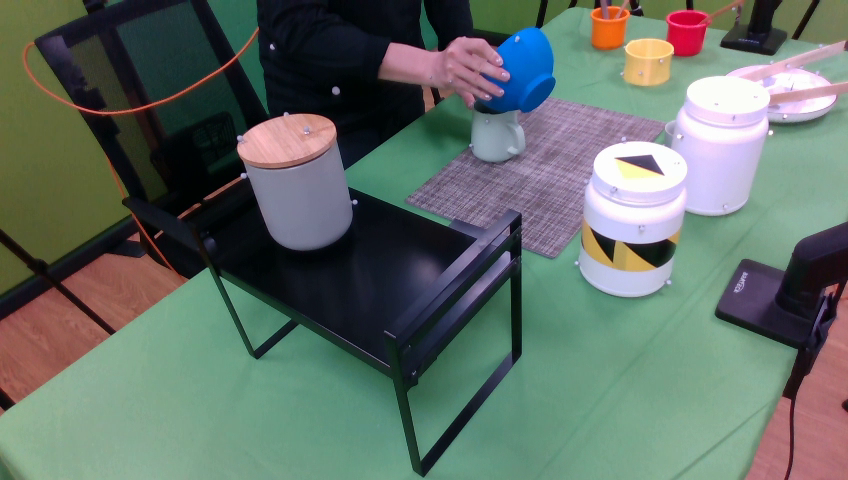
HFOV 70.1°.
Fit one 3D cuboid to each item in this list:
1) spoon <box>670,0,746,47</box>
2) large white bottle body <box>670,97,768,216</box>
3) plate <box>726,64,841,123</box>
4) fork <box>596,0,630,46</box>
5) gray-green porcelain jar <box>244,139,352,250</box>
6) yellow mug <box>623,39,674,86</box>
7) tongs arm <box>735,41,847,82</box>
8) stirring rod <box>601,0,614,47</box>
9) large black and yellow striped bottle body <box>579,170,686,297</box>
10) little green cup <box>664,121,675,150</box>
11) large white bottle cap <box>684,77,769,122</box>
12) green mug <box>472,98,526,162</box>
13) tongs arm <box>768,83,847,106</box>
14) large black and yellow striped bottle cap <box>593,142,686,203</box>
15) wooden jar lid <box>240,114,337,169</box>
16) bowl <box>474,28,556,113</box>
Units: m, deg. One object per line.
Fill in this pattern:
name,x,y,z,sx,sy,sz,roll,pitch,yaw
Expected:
spoon,0.629,-0.484,1.350,0.022,0.193,0.042,48,54,-7
large white bottle body,0.458,-0.146,0.952,0.130,0.185,0.130,-4,40,4
plate,0.695,-0.282,1.189,0.207,0.039,0.206,-4,40,4
fork,0.481,-0.556,1.453,0.028,0.019,0.207,40,103,38
gray-green porcelain jar,-0.144,-0.060,0.714,0.106,0.127,0.105,-4,41,4
yellow mug,0.484,-0.398,1.334,0.100,0.064,0.130,-18,41,-11
tongs arm,0.712,-0.332,1.194,0.386,0.026,0.050,-18,45,-16
stirring rod,0.439,-0.552,1.463,0.014,0.006,0.175,-7,83,3
large black and yellow striped bottle body,0.287,-0.027,0.841,0.131,0.185,0.130,-4,41,4
little green cup,0.472,-0.188,1.113,0.061,0.039,0.061,-5,40,5
large white bottle cap,0.448,-0.210,0.898,0.115,0.018,0.114,-4,40,4
green mug,0.144,-0.201,1.122,0.093,0.105,0.124,-29,45,-23
tongs arm,0.738,-0.281,1.134,0.388,0.028,0.028,-9,47,-5
large black and yellow striped bottle cap,0.280,-0.090,0.786,0.115,0.019,0.114,-5,41,5
wooden jar lid,-0.149,-0.106,0.673,0.108,0.021,0.108,-6,38,5
bowl,0.167,-0.266,1.008,0.152,0.151,0.076,-30,70,-24
